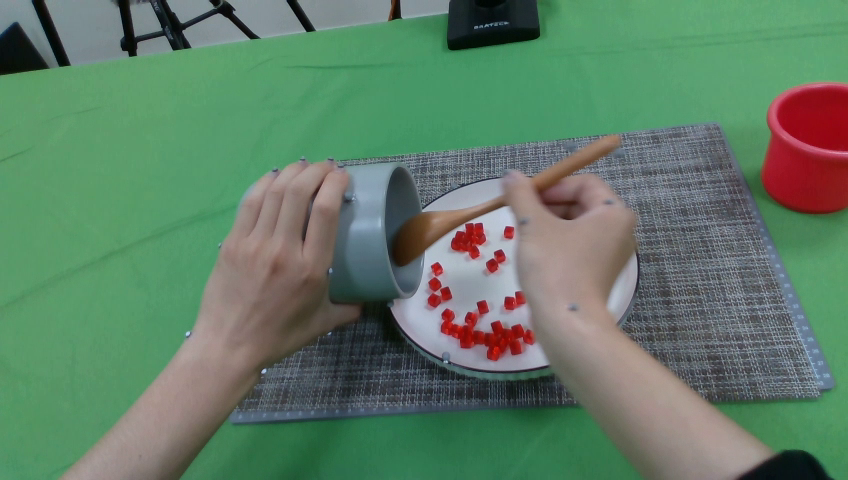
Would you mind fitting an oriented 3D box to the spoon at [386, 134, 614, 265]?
[{"bbox_3d":[0.044,-0.029,0.432,0.193,0.022,0.041,-24,49,27],"label":"spoon"}]

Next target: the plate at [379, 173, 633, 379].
[{"bbox_3d":[0.066,0.028,0.508,0.207,0.039,0.205,-6,48,7],"label":"plate"}]

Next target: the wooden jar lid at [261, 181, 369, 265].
[{"bbox_3d":[-0.106,-0.016,0.599,0.108,0.021,0.107,-6,47,7],"label":"wooden jar lid"}]

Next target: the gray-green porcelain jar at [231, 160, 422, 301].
[{"bbox_3d":[-0.075,-0.005,0.474,0.126,0.107,0.105,-3,49,14],"label":"gray-green porcelain jar"}]
